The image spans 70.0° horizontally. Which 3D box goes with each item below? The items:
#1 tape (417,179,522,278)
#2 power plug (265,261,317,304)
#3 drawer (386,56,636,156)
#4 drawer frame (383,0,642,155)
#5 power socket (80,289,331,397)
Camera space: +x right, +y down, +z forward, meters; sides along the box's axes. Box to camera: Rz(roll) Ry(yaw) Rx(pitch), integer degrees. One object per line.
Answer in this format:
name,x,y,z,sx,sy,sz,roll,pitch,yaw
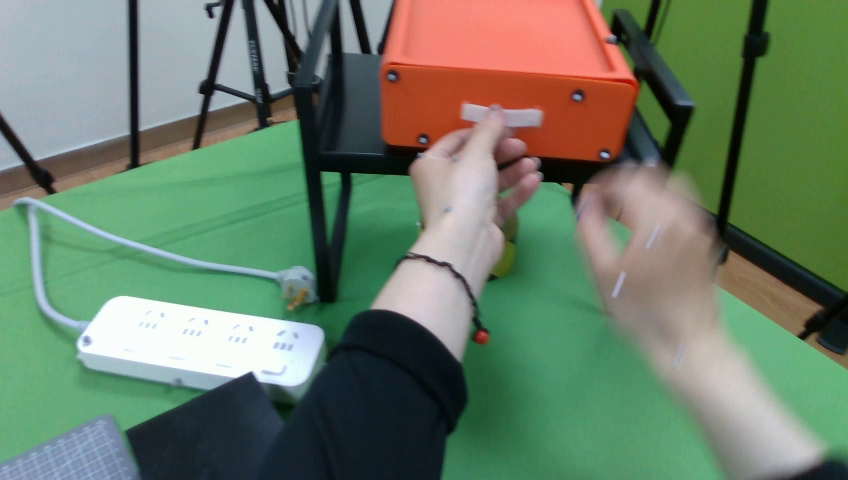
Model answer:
tape,0.050,-0.015,0.678,0.117,0.053,0.115,2,42,-2
power plug,-0.139,0.048,0.619,0.072,0.035,0.052,-20,26,32
drawer,0.071,-0.167,0.560,0.194,0.074,0.210,4,40,1
drawer frame,0.071,-0.172,0.563,0.202,0.083,0.211,3,40,-1
power socket,-0.197,0.092,0.550,0.226,0.033,0.071,8,41,5
